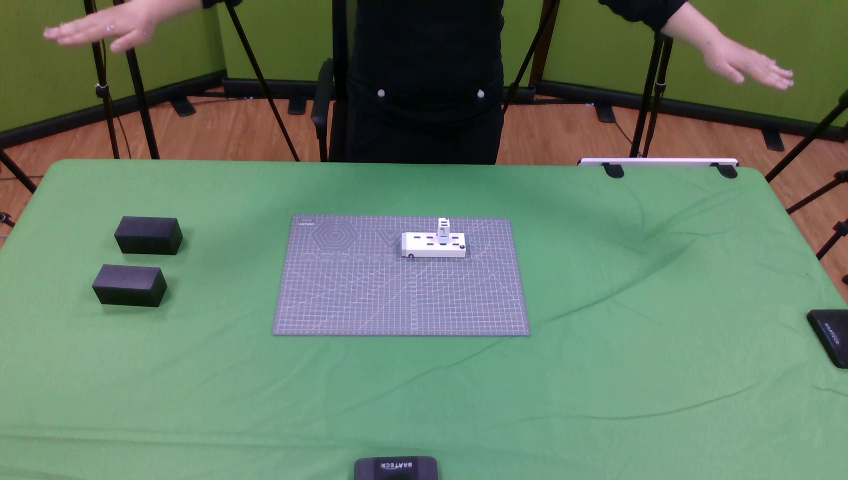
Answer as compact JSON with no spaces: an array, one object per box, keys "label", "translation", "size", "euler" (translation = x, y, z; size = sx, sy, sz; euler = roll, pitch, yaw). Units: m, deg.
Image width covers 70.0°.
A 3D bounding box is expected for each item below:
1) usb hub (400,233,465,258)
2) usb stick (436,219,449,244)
[{"label":"usb hub","translation":[0.017,0.011,1.182],"size":[0.125,0.025,0.049],"euler":[1,46,-3]},{"label":"usb stick","translation":[0.035,-0.012,1.166],"size":[0.021,0.059,0.027],"euler":[-2,48,-6]}]
